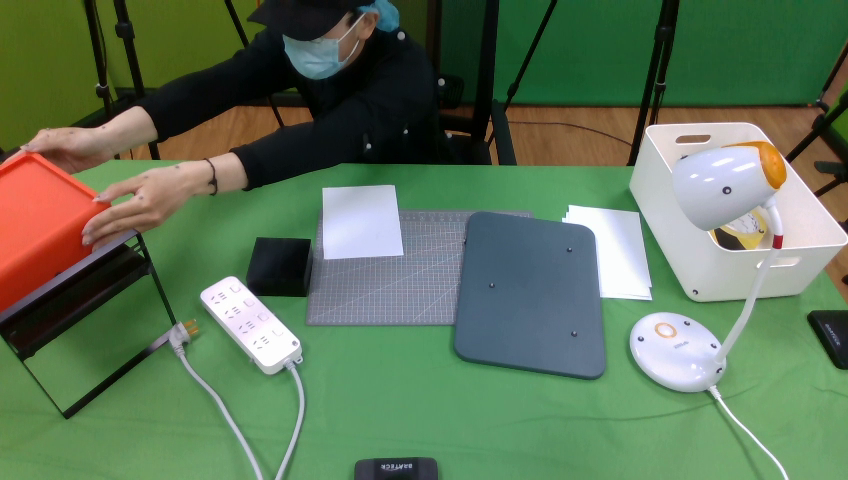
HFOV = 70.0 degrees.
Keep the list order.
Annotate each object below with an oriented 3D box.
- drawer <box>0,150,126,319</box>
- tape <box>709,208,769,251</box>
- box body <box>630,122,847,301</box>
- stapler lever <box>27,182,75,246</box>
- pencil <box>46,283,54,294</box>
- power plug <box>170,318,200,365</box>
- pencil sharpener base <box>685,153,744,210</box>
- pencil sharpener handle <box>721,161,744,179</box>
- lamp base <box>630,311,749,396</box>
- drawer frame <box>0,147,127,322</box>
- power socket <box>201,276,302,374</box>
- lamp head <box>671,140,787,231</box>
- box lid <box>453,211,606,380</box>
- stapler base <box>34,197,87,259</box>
[{"bbox_3d":[-0.585,-0.015,0.874,0.194,0.073,0.211,29,56,21],"label":"drawer"},{"bbox_3d":[0.633,-0.025,1.238,0.117,0.053,0.116,1,46,-1],"label":"tape"},{"bbox_3d":[0.594,-0.062,1.202,0.254,0.161,0.361,-4,47,-7],"label":"box body"},{"bbox_3d":[-0.549,-0.041,0.890,0.027,0.040,0.117,-32,58,-22],"label":"stapler lever"},{"bbox_3d":[-0.565,-0.003,0.890,0.012,0.012,0.193,-18,64,-20],"label":"pencil"},{"bbox_3d":[-0.392,0.167,1.014,0.052,0.035,0.072,-30,89,-23],"label":"power plug"},{"bbox_3d":[0.619,-0.124,1.293,0.077,0.107,0.061,-8,47,-12],"label":"pencil sharpener base"},{"bbox_3d":[0.668,-0.147,1.299,0.031,0.068,0.036,-8,78,-12],"label":"pencil sharpener handle"},{"bbox_3d":[0.447,0.143,0.983,0.161,0.181,0.178,-24,55,-24],"label":"lamp base"},{"bbox_3d":[-0.586,-0.015,0.870,0.201,0.083,0.213,28,55,20],"label":"drawer frame"},{"bbox_3d":[-0.297,0.141,1.034,0.072,0.033,0.225,-34,58,-30],"label":"power socket"},{"bbox_3d":[0.415,-0.078,0.811,0.113,0.123,0.112,12,70,-37],"label":"lamp head"},{"bbox_3d":[0.200,0.085,1.138,0.263,0.015,0.369,8,47,3],"label":"box lid"},{"bbox_3d":[-0.551,-0.026,0.909,0.041,0.024,0.130,-32,59,-22],"label":"stapler base"}]
